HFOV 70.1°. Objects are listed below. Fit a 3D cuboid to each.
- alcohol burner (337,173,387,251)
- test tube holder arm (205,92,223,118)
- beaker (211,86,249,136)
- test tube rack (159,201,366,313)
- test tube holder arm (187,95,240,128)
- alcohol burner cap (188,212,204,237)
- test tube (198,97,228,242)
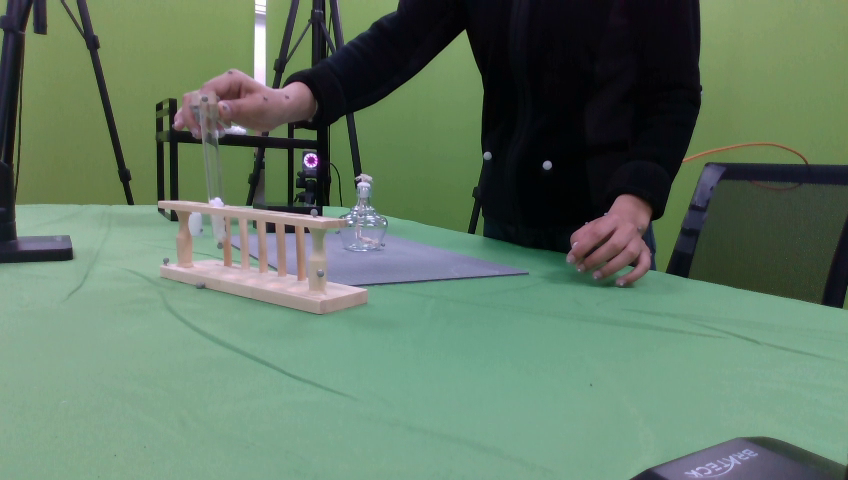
[{"bbox_3d":[-0.095,-0.043,0.926,0.078,0.119,0.078,3,6,0],"label":"alcohol burner"},{"bbox_3d":[-0.222,-0.142,0.640,0.010,0.015,0.087,-13,6,-14],"label":"test tube holder arm"},{"bbox_3d":[-0.413,-0.274,1.297,0.074,0.100,0.083,-5,11,-44],"label":"beaker"},{"bbox_3d":[-0.173,0.009,0.624,0.241,0.085,0.067,7,9,34],"label":"test tube rack"},{"bbox_3d":[-0.234,-0.143,0.684,0.013,0.015,0.178,-11,5,-4],"label":"test tube holder arm"},{"bbox_3d":[-0.390,-0.029,1.025,0.034,0.048,0.034,2,8,0],"label":"alcohol burner cap"},{"bbox_3d":[-0.218,-0.071,0.625,0.017,0.150,0.017,-3,8,1],"label":"test tube"}]
